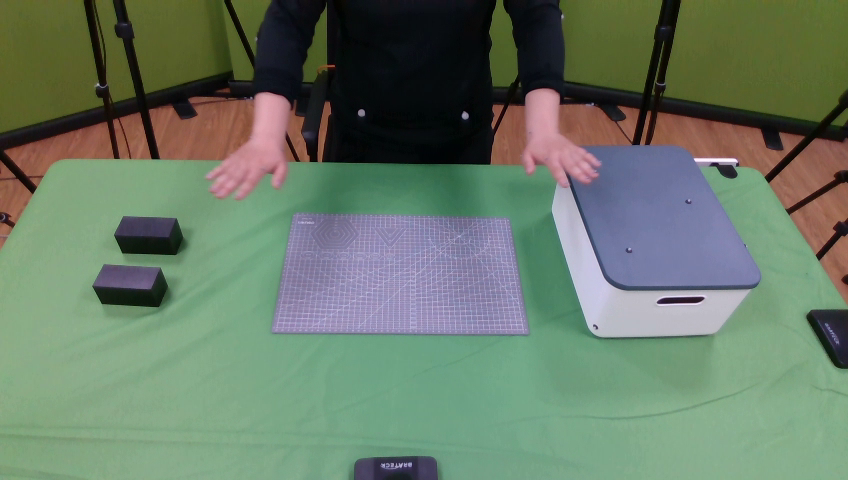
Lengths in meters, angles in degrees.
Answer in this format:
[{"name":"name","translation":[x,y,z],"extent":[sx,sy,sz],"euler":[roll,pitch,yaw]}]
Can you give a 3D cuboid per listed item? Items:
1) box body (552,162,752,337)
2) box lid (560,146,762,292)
[{"name":"box body","translation":[0.401,-0.001,1.131],"extent":[0.254,0.161,0.361],"euler":[-1,46,-5]},{"name":"box lid","translation":[0.404,-0.052,1.076],"extent":[0.263,0.015,0.369],"euler":[-1,45,-5]}]
